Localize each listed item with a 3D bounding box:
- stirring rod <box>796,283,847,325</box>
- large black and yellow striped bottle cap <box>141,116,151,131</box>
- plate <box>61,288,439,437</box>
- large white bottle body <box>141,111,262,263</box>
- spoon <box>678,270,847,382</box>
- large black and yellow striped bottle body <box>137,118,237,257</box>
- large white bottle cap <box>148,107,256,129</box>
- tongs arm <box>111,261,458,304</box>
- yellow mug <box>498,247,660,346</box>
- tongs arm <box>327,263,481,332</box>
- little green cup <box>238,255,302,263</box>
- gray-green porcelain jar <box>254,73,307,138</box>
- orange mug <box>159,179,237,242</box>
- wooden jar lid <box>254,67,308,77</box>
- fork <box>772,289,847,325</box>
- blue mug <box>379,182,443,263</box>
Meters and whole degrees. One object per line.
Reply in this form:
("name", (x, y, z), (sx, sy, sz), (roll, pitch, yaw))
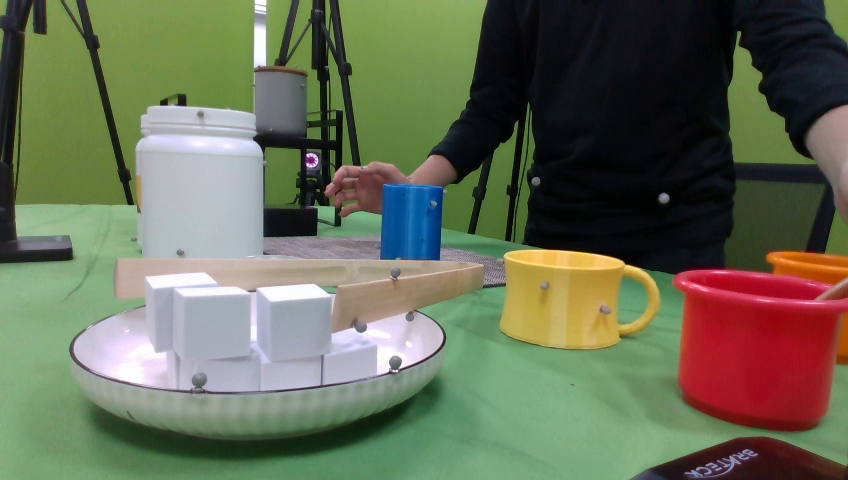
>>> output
("stirring rod", (0.346, 0.019, 0.460), (0.014, 0.176, 0.006), (-17, 59, -26))
("large black and yellow striped bottle cap", (-0.328, -0.158, 0.837), (0.115, 0.019, 0.115), (2, 6, 0))
("plate", (-0.095, 0.069, 0.362), (0.208, 0.039, 0.207), (3, 7, 0))
("large white bottle body", (-0.254, -0.053, 0.697), (0.131, 0.184, 0.130), (2, 7, 0))
("spoon", (0.229, 0.031, 0.338), (0.193, 0.021, 0.042), (-44, -17, 27))
("large black and yellow striped bottle body", (-0.330, -0.075, 0.849), (0.131, 0.184, 0.130), (2, 8, 0))
("large white bottle cap", (-0.250, -0.137, 0.686), (0.115, 0.018, 0.115), (3, 8, 0))
("tongs arm", (-0.080, 0.032, 0.527), (0.028, 0.027, 0.389), (-3, -3, 33))
("yellow mug", (0.130, 0.045, 0.508), (0.131, 0.064, 0.100), (4, 7, 6))
("tongs arm", (-0.003, 0.036, 0.493), (0.050, 0.026, 0.386), (1, 0, 19))
("little green cup", (-0.150, 0.038, 0.590), (0.061, 0.038, 0.061), (3, 6, 0))
("gray-green porcelain jar", (-0.298, -0.277, 1.259), (0.106, 0.126, 0.106), (3, 8, 0))
("orange mug", (-0.368, -0.052, 0.991), (0.127, 0.101, 0.083), (-10, 14, -41))
("wooden jar lid", (-0.296, -0.339, 1.251), (0.108, 0.020, 0.108), (2, 7, 0))
("fork", (0.336, 0.018, 0.443), (0.028, 0.018, 0.207), (-1, -36, -19))
("blue mug", (-0.019, -0.025, 0.833), (0.082, 0.106, 0.116), (1, 7, -6))
